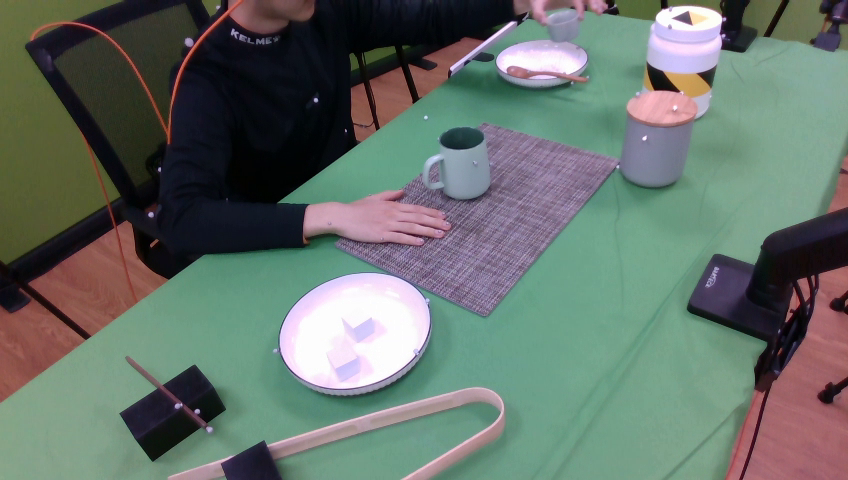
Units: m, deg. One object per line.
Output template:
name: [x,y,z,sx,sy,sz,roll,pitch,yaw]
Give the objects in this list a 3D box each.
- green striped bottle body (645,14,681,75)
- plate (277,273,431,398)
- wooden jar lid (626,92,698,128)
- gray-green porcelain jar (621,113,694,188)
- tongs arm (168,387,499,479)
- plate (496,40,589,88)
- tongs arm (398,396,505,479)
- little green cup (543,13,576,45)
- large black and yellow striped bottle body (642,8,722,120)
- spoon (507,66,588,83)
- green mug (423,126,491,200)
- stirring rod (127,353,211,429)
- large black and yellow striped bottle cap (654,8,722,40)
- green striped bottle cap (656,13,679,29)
green striped bottle body: [0.520,-0.425,1.312,0.063,0.120,0.063,-4,40,4]
plate: [-0.091,0.129,0.821,0.207,0.039,0.206,-4,40,4]
wooden jar lid: [0.384,-0.207,0.980,0.108,0.021,0.108,-6,39,5]
gray-green porcelain jar: [0.390,-0.161,1.020,0.106,0.127,0.105,-4,41,4]
tongs arm: [-0.100,0.230,0.710,0.388,0.028,0.028,-13,33,-7]
plate: [0.269,-0.398,1.381,0.209,0.038,0.208,-4,41,4]
tongs arm: [-0.071,0.272,0.652,0.386,0.026,0.050,-21,38,-17]
little green cup: [0.258,-0.401,1.151,0.061,0.039,0.061,-8,42,8]
large black and yellow striped bottle body: [0.493,-0.334,1.161,0.131,0.185,0.130,-4,41,4]
spoon: [0.265,-0.357,1.311,0.192,0.022,0.042,18,47,38]
green mug: [0.055,-0.125,1.039,0.126,0.105,0.091,-25,44,-19]
stirring rod: [-0.311,0.180,0.731,0.175,0.014,0.006,25,52,31]
large black and yellow striped bottle cap: [0.483,-0.397,1.108,0.115,0.019,0.114,-3,41,3]
green striped bottle cap: [0.515,-0.463,1.278,0.044,0.020,0.044,-6,42,6]
